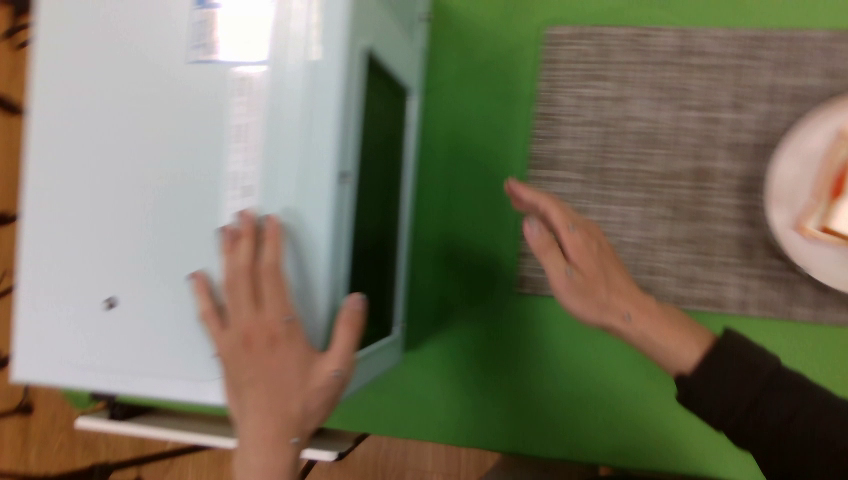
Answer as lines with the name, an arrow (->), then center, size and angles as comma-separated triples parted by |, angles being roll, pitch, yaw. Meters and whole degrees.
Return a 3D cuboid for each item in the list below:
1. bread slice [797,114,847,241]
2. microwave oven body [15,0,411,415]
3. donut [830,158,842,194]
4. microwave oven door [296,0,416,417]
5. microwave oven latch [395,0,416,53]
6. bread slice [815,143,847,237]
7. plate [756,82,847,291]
bread slice -> 0.435, -0.058, 0.589 | 0.106, 0.018, 0.134 | 13, 93, 12
microwave oven body -> -0.198, -0.082, 0.626 | 0.325, 0.261, 0.441 | 2, 92, 13
donut -> 0.430, -0.049, 0.560 | 0.099, 0.048, 0.099 | 1, 95, 9
microwave oven door -> -0.059, -0.034, 0.589 | 0.039, 0.244, 0.355 | 2, 91, 14
microwave oven latch -> -0.024, -0.252, 0.682 | 0.030, 0.029, 0.079 | 3, 92, 13
bread slice -> 0.424, -0.057, 0.534 | 0.104, 0.019, 0.131 | 18, 93, 19
plate -> 0.434, -0.051, 0.590 | 0.207, 0.039, 0.207 | 0, 91, 13
